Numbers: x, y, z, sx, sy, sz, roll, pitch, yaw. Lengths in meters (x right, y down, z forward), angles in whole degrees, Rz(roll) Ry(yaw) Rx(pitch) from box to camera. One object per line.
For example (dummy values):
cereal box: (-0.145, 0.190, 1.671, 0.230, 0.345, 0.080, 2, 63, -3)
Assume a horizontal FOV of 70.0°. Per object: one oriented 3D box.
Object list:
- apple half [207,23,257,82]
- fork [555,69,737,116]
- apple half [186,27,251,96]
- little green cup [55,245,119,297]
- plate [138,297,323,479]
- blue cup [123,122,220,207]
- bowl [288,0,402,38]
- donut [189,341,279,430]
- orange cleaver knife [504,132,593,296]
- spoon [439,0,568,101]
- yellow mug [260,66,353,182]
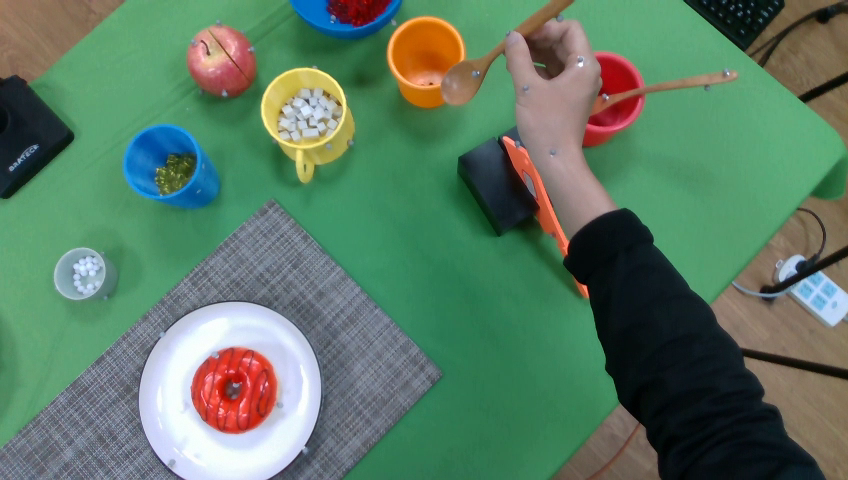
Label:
apple half: (-0.227, -0.235, 0.746, 0.033, 0.081, 0.081, -38, 81, -4)
fork: (0.244, -0.169, 0.691, 0.206, 0.019, 0.028, -4, 65, 43)
apple half: (-0.258, -0.210, 0.743, 0.053, 0.075, 0.080, -39, 85, -2)
little green cup: (-0.399, 0.039, 0.722, 0.061, 0.039, 0.061, 0, 80, 2)
plate: (-0.216, 0.169, 0.693, 0.209, 0.038, 0.208, 0, 81, 1)
blue cup: (-0.285, -0.079, 0.708, 0.092, 0.100, 0.092, 0, 81, -1)
bowl: (-0.093, -0.311, 0.755, 0.151, 0.077, 0.151, 0, 81, 1)
donut: (-0.213, 0.164, 0.683, 0.099, 0.048, 0.098, 0, 82, 2)
orange cleaver knife: (0.143, -0.028, 0.702, 0.012, 0.076, 0.213, -30, 110, -2)
spoon: (0.070, -0.179, 0.559, 0.022, 0.193, 0.041, -16, 87, -30)
yellow mug: (-0.141, -0.135, 0.732, 0.100, 0.064, 0.130, 3, 82, 2)
